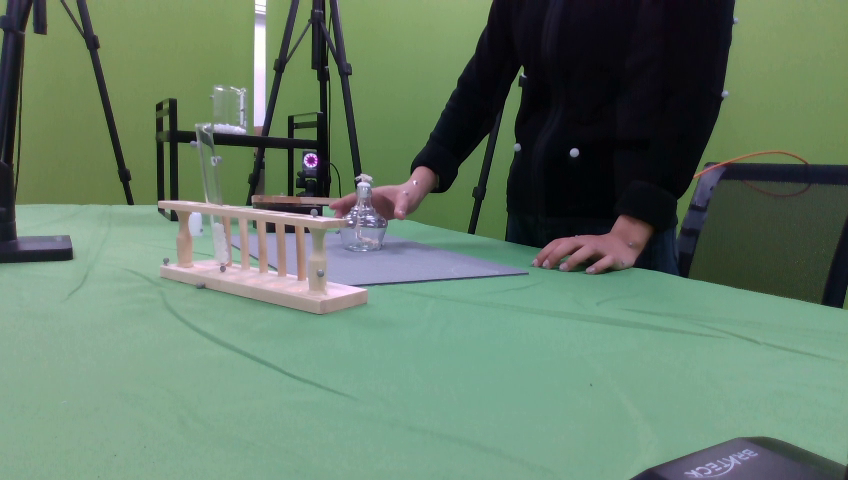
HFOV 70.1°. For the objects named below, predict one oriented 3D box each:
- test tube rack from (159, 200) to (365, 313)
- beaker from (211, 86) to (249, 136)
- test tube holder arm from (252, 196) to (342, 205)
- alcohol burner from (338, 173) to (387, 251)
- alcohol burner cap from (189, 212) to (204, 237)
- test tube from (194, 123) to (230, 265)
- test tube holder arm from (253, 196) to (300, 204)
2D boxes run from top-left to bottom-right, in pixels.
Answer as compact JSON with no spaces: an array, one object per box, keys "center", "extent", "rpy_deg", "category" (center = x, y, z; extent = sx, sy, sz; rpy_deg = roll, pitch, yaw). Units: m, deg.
[{"center":[-0.173,0.009,0.624],"extent":[0.241,0.085,0.067],"rpy_deg":[7,9,34],"category":"test tube rack"},{"center":[-0.413,-0.274,1.297],"extent":[0.074,0.100,0.083],"rpy_deg":[-5,11,-44],"category":"beaker"},{"center":[-0.241,-0.076,1.164],"extent":[0.179,0.015,0.013],"rpy_deg":[-1,8,-33],"category":"test tube holder arm"},{"center":[-0.094,-0.043,0.926],"extent":[0.078,0.119,0.078],"rpy_deg":[3,6,0],"category":"alcohol burner"},{"center":[-0.389,-0.029,1.026],"extent":[0.034,0.048,0.034],"rpy_deg":[2,9,0],"category":"alcohol burner cap"},{"center":[-0.218,-0.045,0.624],"extent":[0.017,0.150,0.017],"rpy_deg":[-2,19,1],"category":"test tube"},{"center":[-0.276,-0.075,1.135],"extent":[0.088,0.015,0.010],"rpy_deg":[-1,8,-32],"category":"test tube holder arm"}]
